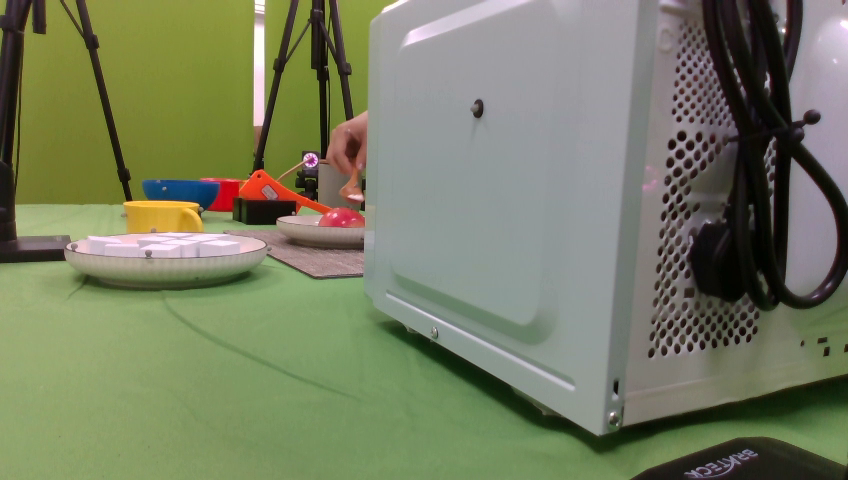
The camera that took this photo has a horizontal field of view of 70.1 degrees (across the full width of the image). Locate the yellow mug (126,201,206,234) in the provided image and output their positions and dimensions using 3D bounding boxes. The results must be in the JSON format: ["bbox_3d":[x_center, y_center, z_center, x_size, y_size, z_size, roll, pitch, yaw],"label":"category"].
[{"bbox_3d":[-0.360,-0.019,0.866,0.130,0.064,0.100,6,9,27],"label":"yellow mug"}]

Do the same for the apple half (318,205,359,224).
[{"bbox_3d":[-0.126,-0.028,0.954,0.081,0.053,0.074,-2,11,-32],"label":"apple half"}]

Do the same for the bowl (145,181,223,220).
[{"bbox_3d":[-0.499,-0.081,1.261,0.151,0.077,0.151,2,7,0],"label":"bowl"}]

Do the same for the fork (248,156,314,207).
[{"bbox_3d":[-0.360,-0.147,1.523,0.207,0.019,0.028,-43,16,-7],"label":"fork"}]

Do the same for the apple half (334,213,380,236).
[{"bbox_3d":[-0.112,-0.029,1.034,0.081,0.033,0.081,0,10,0],"label":"apple half"}]

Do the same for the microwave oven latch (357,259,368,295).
[{"bbox_3d":[-0.019,0.031,0.529,0.079,0.029,0.030,-1,7,-26],"label":"microwave oven latch"}]

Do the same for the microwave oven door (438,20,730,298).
[{"bbox_3d":[0.181,-0.076,0.618,0.358,0.243,0.039,-2,8,-28],"label":"microwave oven door"}]

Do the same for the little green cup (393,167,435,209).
[{"bbox_3d":[-0.013,-0.079,0.944,0.061,0.038,0.061,-39,-10,-8],"label":"little green cup"}]

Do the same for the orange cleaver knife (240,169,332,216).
[{"bbox_3d":[-0.286,-0.082,1.298,0.212,0.077,0.012,25,-2,-31],"label":"orange cleaver knife"}]

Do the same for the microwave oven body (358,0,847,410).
[{"bbox_3d":[0.210,-0.051,0.471,0.444,0.260,0.324,-1,7,-28],"label":"microwave oven body"}]

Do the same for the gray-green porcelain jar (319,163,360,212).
[{"bbox_3d":[-0.204,-0.126,1.489,0.106,0.126,0.106,2,7,0],"label":"gray-green porcelain jar"}]

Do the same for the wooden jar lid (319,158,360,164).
[{"bbox_3d":[-0.203,-0.189,1.482,0.108,0.020,0.108,2,10,0],"label":"wooden jar lid"}]

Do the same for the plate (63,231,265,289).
[{"bbox_3d":[-0.288,0.021,0.687,0.208,0.039,0.207,2,8,0],"label":"plate"}]

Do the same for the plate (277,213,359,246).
[{"bbox_3d":[-0.135,-0.018,0.993,0.209,0.038,0.209,2,7,0],"label":"plate"}]

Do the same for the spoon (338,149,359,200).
[{"bbox_3d":[-0.119,-0.114,1.014,0.042,0.021,0.193,13,32,-12],"label":"spoon"}]
